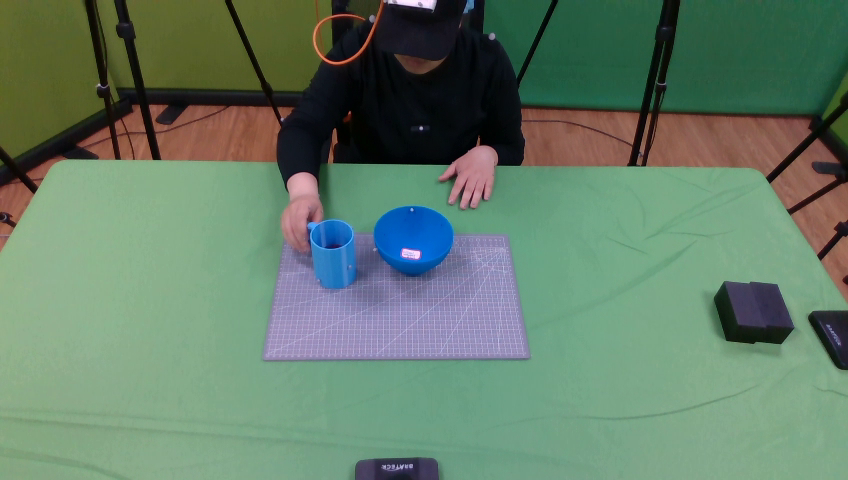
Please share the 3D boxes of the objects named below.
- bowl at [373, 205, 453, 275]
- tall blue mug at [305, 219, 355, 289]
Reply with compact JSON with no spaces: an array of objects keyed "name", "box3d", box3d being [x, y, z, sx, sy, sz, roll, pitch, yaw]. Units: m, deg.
[{"name":"bowl","box3d":[-0.022,0.013,1.143,0.151,0.077,0.150,2,46,-2]},{"name":"tall blue mug","box3d":[-0.180,0.023,1.099,0.107,0.108,0.077,15,48,10]}]
